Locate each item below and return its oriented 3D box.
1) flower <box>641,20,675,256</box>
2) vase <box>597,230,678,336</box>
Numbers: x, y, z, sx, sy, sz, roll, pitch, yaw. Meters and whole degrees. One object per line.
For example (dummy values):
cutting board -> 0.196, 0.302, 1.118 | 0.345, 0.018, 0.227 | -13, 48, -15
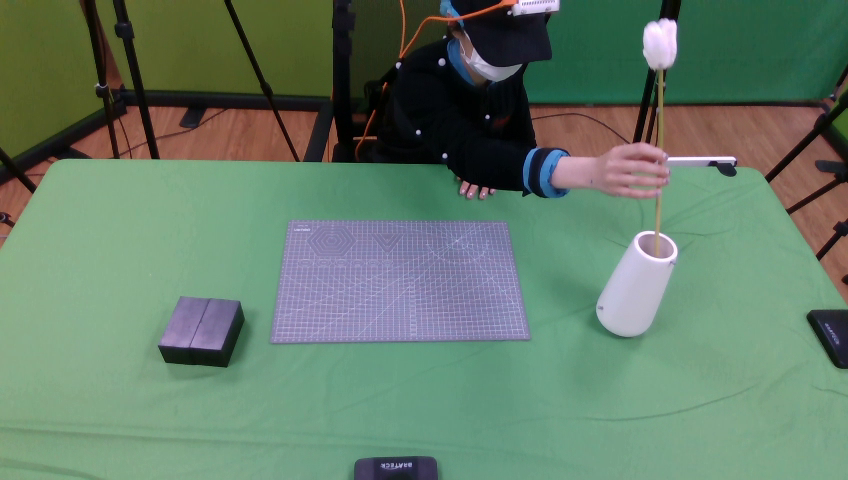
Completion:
flower -> 0.336, -0.125, 0.862 | 0.044, 0.363, 0.038 | -26, 34, -17
vase -> 0.360, 0.077, 1.026 | 0.098, 0.201, 0.097 | 1, 47, -1
